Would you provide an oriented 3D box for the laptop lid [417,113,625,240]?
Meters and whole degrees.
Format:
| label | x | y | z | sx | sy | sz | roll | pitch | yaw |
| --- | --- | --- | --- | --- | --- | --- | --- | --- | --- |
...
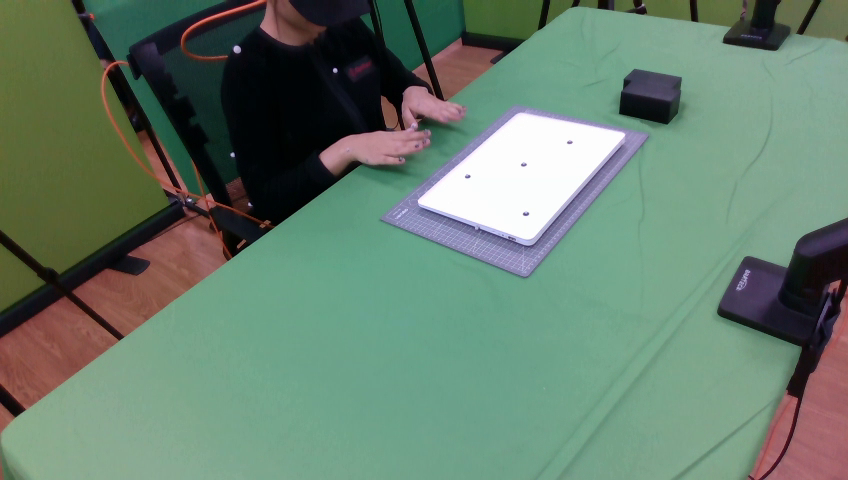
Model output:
| label | x | y | z | sx | sy | sz | roll | pitch | yaw |
| --- | --- | --- | --- | --- | --- | --- | --- | --- | --- |
| laptop lid | 0.180 | -0.132 | 1.088 | 0.239 | 0.013 | 0.358 | 22 | 49 | 34 |

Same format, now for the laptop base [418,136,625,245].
| label | x | y | z | sx | sy | sz | roll | pitch | yaw |
| --- | --- | --- | --- | --- | --- | --- | --- | --- | --- |
| laptop base | 0.183 | -0.123 | 1.094 | 0.233 | 0.023 | 0.355 | 19 | 47 | 34 |
